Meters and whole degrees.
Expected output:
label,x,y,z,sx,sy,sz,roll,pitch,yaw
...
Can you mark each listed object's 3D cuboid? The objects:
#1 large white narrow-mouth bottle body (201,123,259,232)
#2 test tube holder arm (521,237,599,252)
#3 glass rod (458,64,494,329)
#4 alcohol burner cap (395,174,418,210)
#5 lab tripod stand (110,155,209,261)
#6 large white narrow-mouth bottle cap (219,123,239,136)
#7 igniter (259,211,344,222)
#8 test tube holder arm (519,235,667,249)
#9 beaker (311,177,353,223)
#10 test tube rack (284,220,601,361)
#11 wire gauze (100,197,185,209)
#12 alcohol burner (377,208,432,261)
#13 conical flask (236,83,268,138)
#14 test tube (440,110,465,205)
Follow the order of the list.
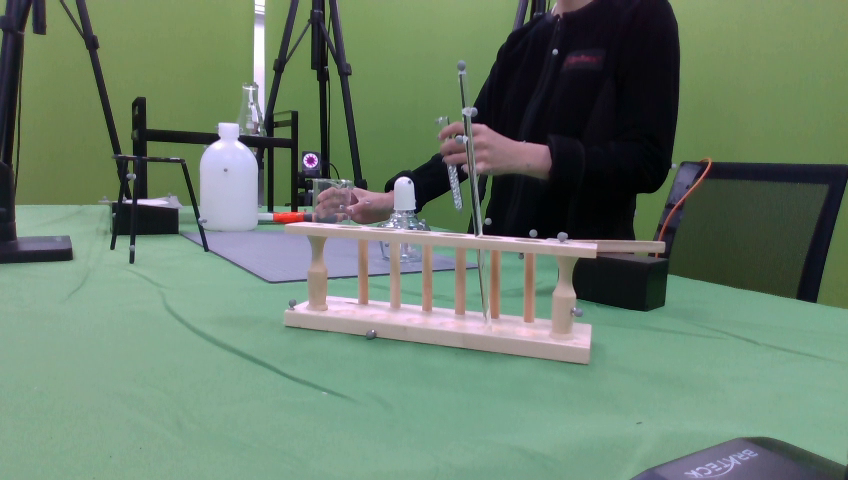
label,x,y,z,sx,sy,sz,roll,pitch,yaw
large white narrow-mouth bottle body,-0.358,-0.116,1.116,0.102,0.194,0.102,2,8,0
test tube holder arm,0.144,0.004,0.635,0.088,0.015,0.010,0,14,-19
glass rod,0.039,-0.029,0.449,0.008,0.199,0.008,-7,9,1
alcohol burner cap,-0.026,-0.067,0.833,0.034,0.048,0.034,-2,12,1
lab tripod stand,-0.361,-0.046,0.806,0.148,0.131,0.148,2,5,0
large white narrow-mouth bottle cap,-0.356,-0.201,1.104,0.038,0.024,0.037,2,8,0
igniter,-0.302,-0.047,1.249,0.278,0.025,0.057,-2,-2,-27
test tube holder arm,0.186,0.003,0.655,0.179,0.015,0.013,0,14,-18
beaker,-0.167,-0.064,1.106,0.074,0.100,0.083,-2,10,-26
test tube rack,0.013,0.032,0.482,0.242,0.085,0.067,4,7,16
wire gauze,-0.469,-0.062,1.008,0.126,0.011,0.121,-2,8,-25
alcohol burner,-0.027,-0.031,0.838,0.078,0.119,0.078,0,6,0
conical flask,-0.400,-0.298,1.396,0.075,0.122,0.075,2,8,0
test tube,0.045,-0.128,0.948,0.017,0.150,0.017,-10,15,3
